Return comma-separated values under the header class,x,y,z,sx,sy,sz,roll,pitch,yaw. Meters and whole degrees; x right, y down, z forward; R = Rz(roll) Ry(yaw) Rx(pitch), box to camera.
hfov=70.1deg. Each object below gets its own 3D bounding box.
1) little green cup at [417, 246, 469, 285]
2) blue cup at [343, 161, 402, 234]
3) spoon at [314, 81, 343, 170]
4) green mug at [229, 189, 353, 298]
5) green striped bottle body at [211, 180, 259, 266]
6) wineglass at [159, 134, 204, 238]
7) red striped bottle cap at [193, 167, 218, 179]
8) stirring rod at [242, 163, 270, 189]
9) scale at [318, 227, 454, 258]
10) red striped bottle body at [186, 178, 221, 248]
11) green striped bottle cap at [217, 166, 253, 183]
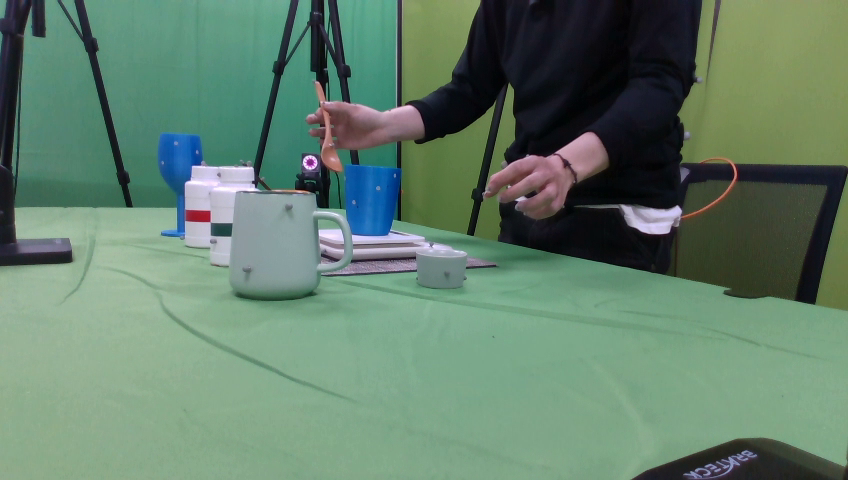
class,x,y,z,sx,sy,sz,roll,pitch,yaw
little green cup,0.021,0.029,0.701,0.061,0.038,0.061,1,6,0
blue cup,-0.078,-0.062,0.884,0.093,0.100,0.092,4,6,0
spoon,-0.171,-0.204,1.066,0.021,0.193,0.042,-29,-27,38
green mug,-0.135,0.002,0.618,0.125,0.105,0.092,2,7,4
green striped bottle body,-0.243,-0.029,0.784,0.063,0.119,0.063,2,7,0
wineglass,-0.415,-0.093,1.040,0.074,0.172,0.073,2,7,0
red striped bottle cap,-0.329,-0.103,0.921,0.044,0.017,0.044,-1,9,0
stirring rod,-0.298,-0.091,1.198,0.014,0.006,0.177,10,-31,45
scale,-0.066,0.001,0.906,0.202,0.031,0.148,-2,8,-31
red striped bottle body,-0.331,-0.050,0.927,0.063,0.119,0.063,2,6,0
green striped bottle cap,-0.242,-0.085,0.777,0.044,0.020,0.044,2,9,0
